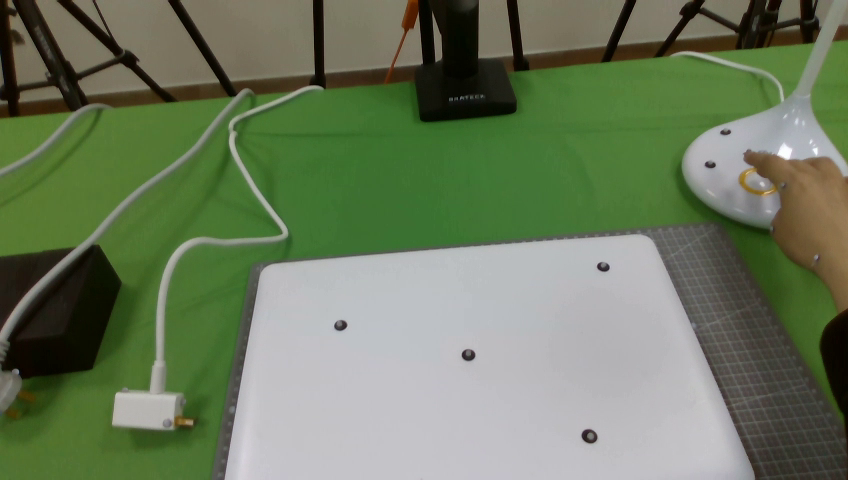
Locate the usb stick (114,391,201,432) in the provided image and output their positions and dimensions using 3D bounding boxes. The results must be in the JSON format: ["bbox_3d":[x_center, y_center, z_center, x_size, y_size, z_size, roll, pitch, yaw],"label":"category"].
[{"bbox_3d":[-0.197,0.129,0.454,0.059,0.021,0.027,8,82,-4],"label":"usb stick"}]

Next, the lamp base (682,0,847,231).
[{"bbox_3d":[0.347,-0.129,0.569,0.159,0.182,0.178,20,48,23],"label":"lamp base"}]

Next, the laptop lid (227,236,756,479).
[{"bbox_3d":[0.036,0.094,0.466,0.357,0.013,0.239,-4,47,1],"label":"laptop lid"}]

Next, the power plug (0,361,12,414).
[{"bbox_3d":[-0.339,0.104,0.444,0.035,0.073,0.052,-15,24,37],"label":"power plug"}]

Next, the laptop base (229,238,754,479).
[{"bbox_3d":[0.037,0.100,0.476,0.354,0.023,0.233,-5,48,0],"label":"laptop base"}]
